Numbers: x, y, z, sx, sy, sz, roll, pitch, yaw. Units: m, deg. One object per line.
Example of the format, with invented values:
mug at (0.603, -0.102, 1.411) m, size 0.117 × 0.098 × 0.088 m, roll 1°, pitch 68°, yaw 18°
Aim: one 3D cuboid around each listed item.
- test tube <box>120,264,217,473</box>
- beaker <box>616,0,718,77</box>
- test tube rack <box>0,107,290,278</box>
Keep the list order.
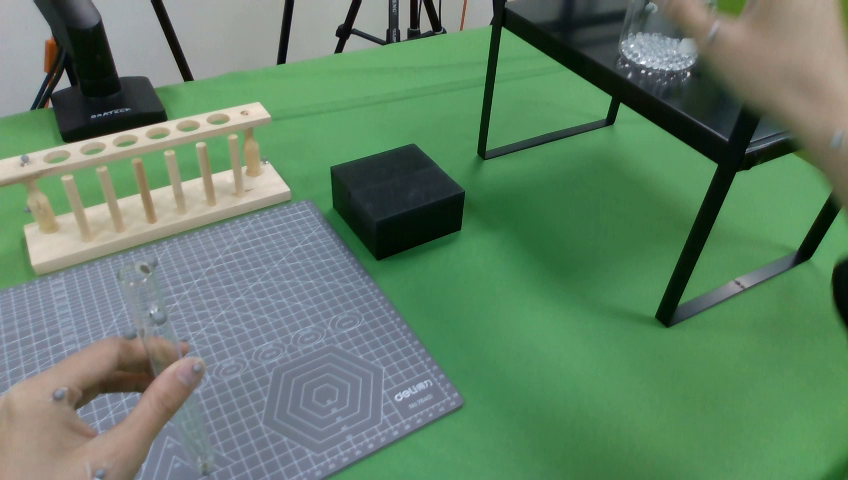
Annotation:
test tube at (-0.129, 0.075, 0.315) m, size 0.017 × 0.151 × 0.017 m, roll 1°, pitch 37°, yaw 0°
beaker at (0.204, -0.194, 0.505) m, size 0.084 × 0.101 × 0.073 m, roll -21°, pitch 46°, yaw -25°
test tube rack at (-0.262, -0.053, 0.591) m, size 0.243 × 0.086 × 0.066 m, roll -20°, pitch 46°, yaw -26°
